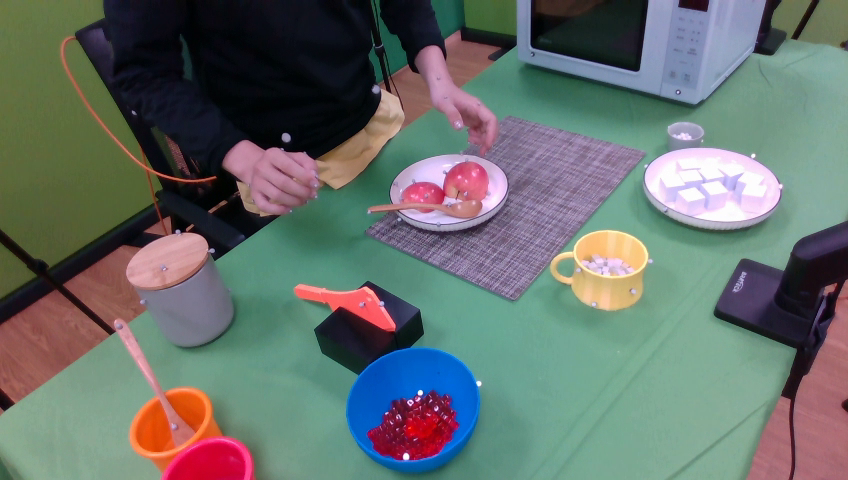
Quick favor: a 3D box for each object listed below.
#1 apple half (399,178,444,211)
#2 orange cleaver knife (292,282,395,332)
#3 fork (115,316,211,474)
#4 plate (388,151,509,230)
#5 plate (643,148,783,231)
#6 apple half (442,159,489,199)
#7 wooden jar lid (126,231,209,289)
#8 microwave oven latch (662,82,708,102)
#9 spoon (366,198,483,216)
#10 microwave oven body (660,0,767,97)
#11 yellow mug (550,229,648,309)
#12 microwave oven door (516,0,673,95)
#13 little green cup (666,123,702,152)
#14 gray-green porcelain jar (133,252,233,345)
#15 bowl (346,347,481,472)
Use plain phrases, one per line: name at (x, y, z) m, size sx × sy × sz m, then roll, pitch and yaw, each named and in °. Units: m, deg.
apple half at (-0.004, -0.088, 1.045) m, size 0.081 × 0.033 × 0.081 m, roll -2°, pitch 43°, yaw 3°
orange cleaver knife at (-0.116, 0.091, 0.835) m, size 0.209 × 0.077 × 0.012 m, roll 2°, pitch 32°, yaw 48°
fork at (-0.308, 0.179, 0.708) m, size 0.028 × 0.018 × 0.207 m, roll -30°, pitch 89°, yaw -21°
plate at (0.044, -0.082, 1.043) m, size 0.209 × 0.038 × 0.208 m, roll -4°, pitch 40°, yaw 4°
plate at (0.464, -0.080, 0.986) m, size 0.207 × 0.039 × 0.206 m, roll -4°, pitch 41°, yaw 4°
apple half at (0.074, -0.110, 1.047) m, size 0.080 × 0.053 × 0.075 m, roll 21°, pitch 45°, yaw 30°
wooden jar lid at (-0.340, 0.030, 0.808) m, size 0.108 × 0.021 × 0.108 m, roll -5°, pitch 39°, yaw 5°
microwave oven latch at (0.517, -0.298, 1.203) m, size 0.078 × 0.029 × 0.030 m, roll 28°, pitch 53°, yaw 35°
spoon at (0.001, -0.056, 0.998) m, size 0.194 × 0.022 × 0.041 m, roll 1°, pitch 46°, yaw -8°
microwave oven body at (0.473, -0.517, 1.314) m, size 0.438 × 0.261 × 0.327 m, roll 26°, pitch 51°, yaw 34°
yellow mug at (0.245, 0.040, 0.857) m, size 0.130 × 0.064 × 0.099 m, roll 1°, pitch 42°, yaw 11°
microwave oven door at (0.344, -0.458, 1.256) m, size 0.353 × 0.245 × 0.039 m, roll 26°, pitch 51°, yaw 33°
little green cup at (0.472, -0.183, 1.102) m, size 0.061 × 0.039 × 0.061 m, roll -5°, pitch 39°, yaw 5°
gray-green porcelain jar at (-0.334, 0.076, 0.849) m, size 0.106 × 0.127 × 0.105 m, roll -4°, pitch 41°, yaw 4°
bowl at (-0.008, 0.205, 0.691) m, size 0.151 × 0.077 × 0.150 m, roll -4°, pitch 40°, yaw 4°
